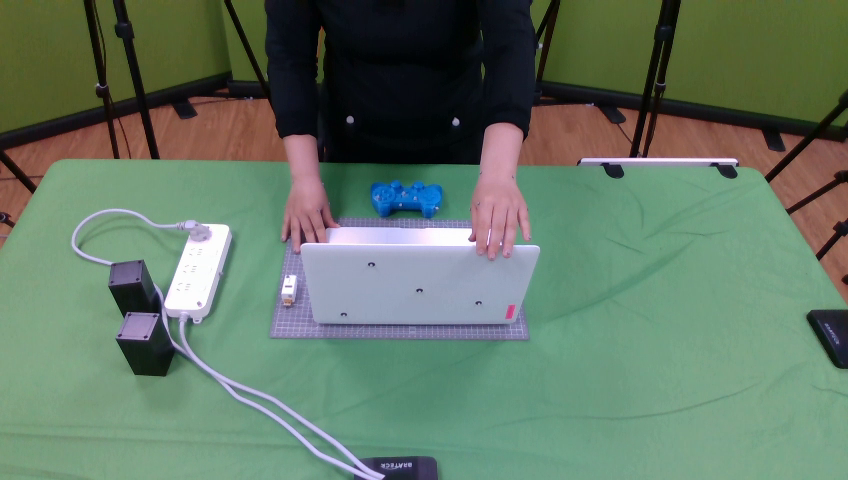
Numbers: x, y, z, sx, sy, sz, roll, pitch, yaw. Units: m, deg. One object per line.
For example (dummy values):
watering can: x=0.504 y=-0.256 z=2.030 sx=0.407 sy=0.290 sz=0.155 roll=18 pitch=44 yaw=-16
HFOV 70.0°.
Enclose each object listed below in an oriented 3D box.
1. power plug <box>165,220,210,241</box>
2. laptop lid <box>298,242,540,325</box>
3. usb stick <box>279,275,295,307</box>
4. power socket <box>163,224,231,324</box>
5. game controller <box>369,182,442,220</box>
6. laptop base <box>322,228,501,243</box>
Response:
power plug: x=-0.440 y=-0.015 z=1.143 sx=0.072 sy=0.053 sz=0.035 roll=6 pitch=46 yaw=9
laptop lid: x=-0.010 y=0.076 z=0.958 sx=0.357 sy=0.243 sz=0.013 roll=1 pitch=53 yaw=-5
usb stick: x=-0.245 y=0.093 z=1.080 sx=0.021 sy=0.027 sz=0.059 roll=2 pitch=47 yaw=-4
power socket: x=-0.411 y=0.052 z=1.107 sx=0.072 sy=0.033 sz=0.225 roll=3 pitch=46 yaw=-3
game controller: x=-0.039 y=-0.091 z=1.268 sx=0.155 sy=0.052 sz=0.096 roll=2 pitch=50 yaw=-2
laptop base: x=-0.020 y=0.063 z=1.136 sx=0.355 sy=0.023 sz=0.234 roll=1 pitch=42 yaw=-4
